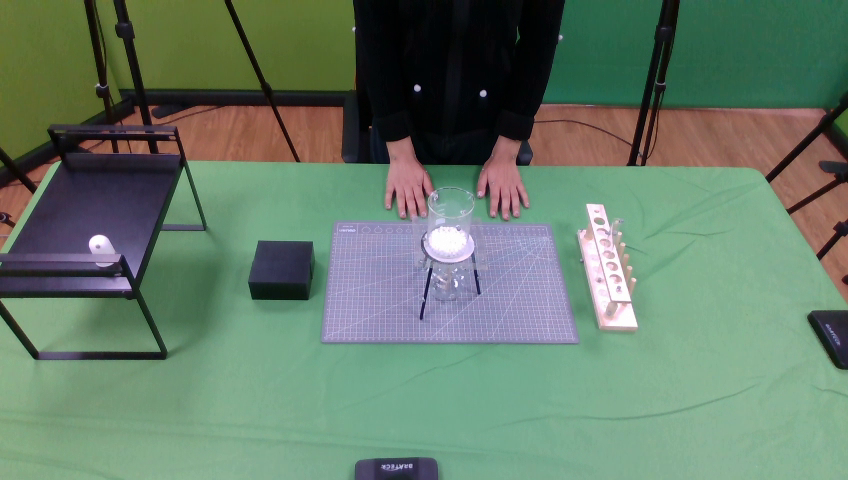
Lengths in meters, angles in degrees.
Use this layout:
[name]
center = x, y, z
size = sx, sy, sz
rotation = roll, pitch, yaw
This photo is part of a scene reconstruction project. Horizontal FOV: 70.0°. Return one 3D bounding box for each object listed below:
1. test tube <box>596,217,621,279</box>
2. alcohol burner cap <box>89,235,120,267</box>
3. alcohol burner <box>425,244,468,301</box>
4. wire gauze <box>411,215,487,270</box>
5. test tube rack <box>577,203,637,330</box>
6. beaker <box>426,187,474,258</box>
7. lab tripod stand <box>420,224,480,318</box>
[test tube]
center = 0.331, 0.018, 1.094
size = 0.017, 0.151, 0.017
rotation = 0, 45, 0
[alcohol burner cap]
center = -0.469, 0.013, 0.885
size = 0.034, 0.048, 0.033
rotation = 1, 47, -1
[alcohol burner]
center = 0.040, 0.053, 1.083
size = 0.078, 0.120, 0.077
rotation = 1, 47, -1
[wire gauze]
center = 0.041, 0.003, 1.026
size = 0.125, 0.011, 0.120
rotation = 0, 46, -2
[test tube rack]
center = 0.348, 0.045, 1.139
size = 0.067, 0.085, 0.241
rotation = 2, 46, -2
[beaker]
center = 0.042, -0.027, 0.989
size = 0.084, 0.101, 0.073
rotation = -27, 53, -26
[lab tripod stand]
center = 0.034, 0.052, 1.071
size = 0.148, 0.132, 0.147
rotation = 3, 48, -3
